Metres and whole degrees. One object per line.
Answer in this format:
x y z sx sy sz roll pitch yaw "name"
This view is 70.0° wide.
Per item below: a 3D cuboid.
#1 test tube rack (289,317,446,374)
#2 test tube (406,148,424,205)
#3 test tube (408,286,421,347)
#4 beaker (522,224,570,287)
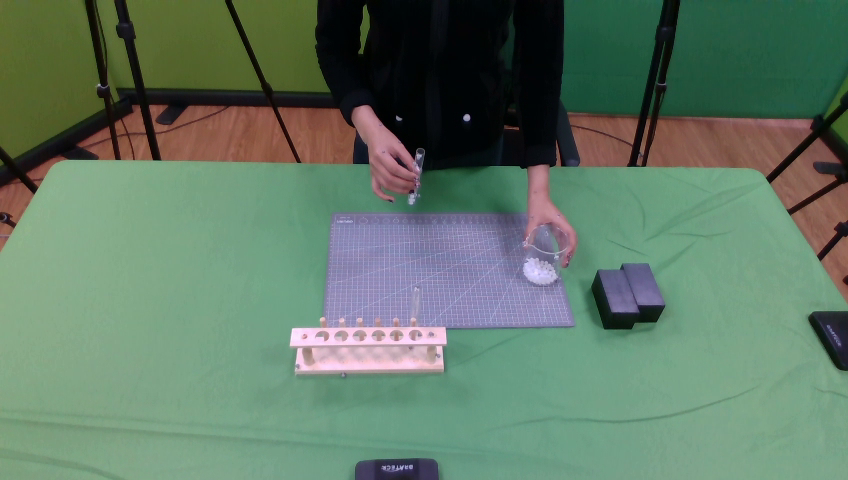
-0.089 0.167 0.987 0.242 0.085 0.066 0 46 -4 "test tube rack"
-0.017 -0.112 1.099 0.017 0.151 0.017 5 55 -7 "test tube"
-0.016 0.124 0.973 0.017 0.151 0.017 3 46 -2 "test tube"
0.221 0.032 1.129 0.084 0.101 0.073 -7 46 -9 "beaker"
